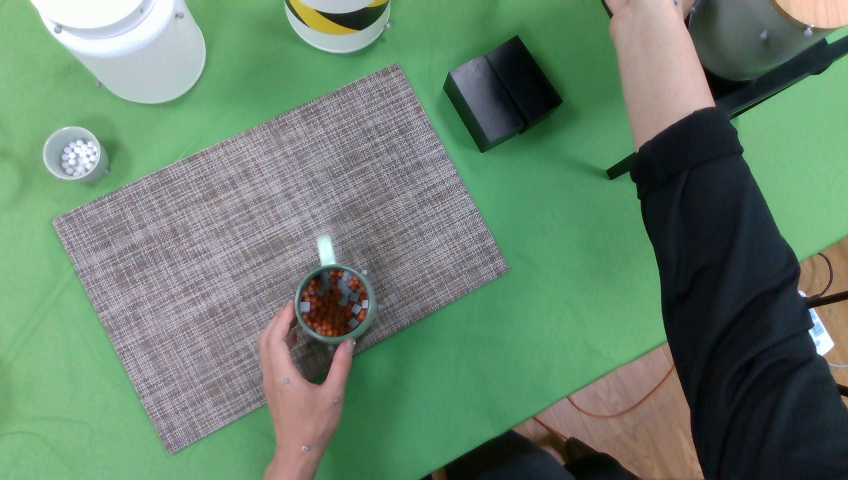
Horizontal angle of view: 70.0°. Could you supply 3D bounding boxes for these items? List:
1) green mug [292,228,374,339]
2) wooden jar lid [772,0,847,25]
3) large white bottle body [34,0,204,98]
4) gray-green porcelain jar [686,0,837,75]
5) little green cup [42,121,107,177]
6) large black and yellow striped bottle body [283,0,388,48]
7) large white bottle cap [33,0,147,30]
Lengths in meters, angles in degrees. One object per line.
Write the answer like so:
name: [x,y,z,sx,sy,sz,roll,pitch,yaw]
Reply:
green mug: [-0.105,0.048,0.676,0.092,0.105,0.125,-10,84,-8]
wooden jar lid: [0.328,-0.233,0.513,0.108,0.020,0.108,1,86,-8]
large white bottle body: [-0.322,-0.243,0.645,0.131,0.185,0.130,1,83,-6]
gray-green porcelain jar: [0.322,-0.224,0.574,0.106,0.126,0.105,1,82,-6]
little green cup: [-0.397,-0.101,0.693,0.062,0.038,0.061,1,84,-7]
large black and yellow striped bottle body: [-0.101,-0.315,0.682,0.131,0.184,0.130,1,83,-6]
large white bottle cap: [-0.312,-0.253,0.562,0.115,0.018,0.114,1,84,-7]
